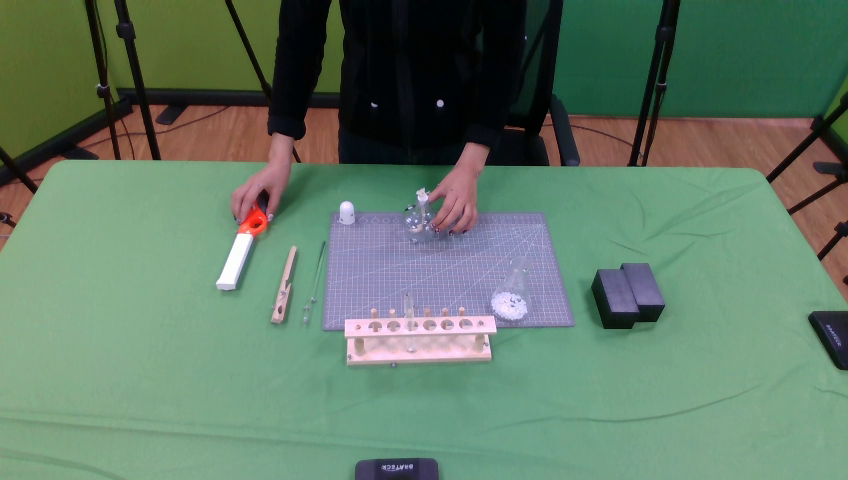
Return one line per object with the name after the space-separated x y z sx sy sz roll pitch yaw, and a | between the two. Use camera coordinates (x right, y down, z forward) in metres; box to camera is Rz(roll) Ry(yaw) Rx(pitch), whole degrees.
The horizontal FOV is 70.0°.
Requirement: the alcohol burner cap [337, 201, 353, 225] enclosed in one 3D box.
-0.159 -0.056 1.224 0.034 0.048 0.033 3 47 -2 | alcohol burner cap

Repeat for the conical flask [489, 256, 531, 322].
0.158 0.081 1.061 0.075 0.122 0.075 2 46 -2 | conical flask

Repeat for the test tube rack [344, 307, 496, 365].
-0.009 0.154 1.007 0.242 0.085 0.066 -1 46 -5 | test tube rack

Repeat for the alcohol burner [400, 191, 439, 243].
-0.007 -0.052 1.182 0.078 0.119 0.077 3 47 -3 | alcohol burner

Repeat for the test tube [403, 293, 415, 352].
-0.024 0.133 0.957 0.017 0.151 0.017 0 49 0 | test tube

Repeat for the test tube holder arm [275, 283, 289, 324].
-0.253 0.111 1.077 0.010 0.015 0.087 28 38 -26 | test tube holder arm

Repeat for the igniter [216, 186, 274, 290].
-0.346 -0.014 1.181 0.057 0.025 0.275 4 45 3 | igniter

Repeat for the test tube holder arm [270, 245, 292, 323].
-0.259 0.076 1.106 0.013 0.015 0.177 28 38 -27 | test tube holder arm

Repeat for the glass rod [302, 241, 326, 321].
-0.203 0.071 1.124 0.008 0.008 0.198 4 44 1 | glass rod
